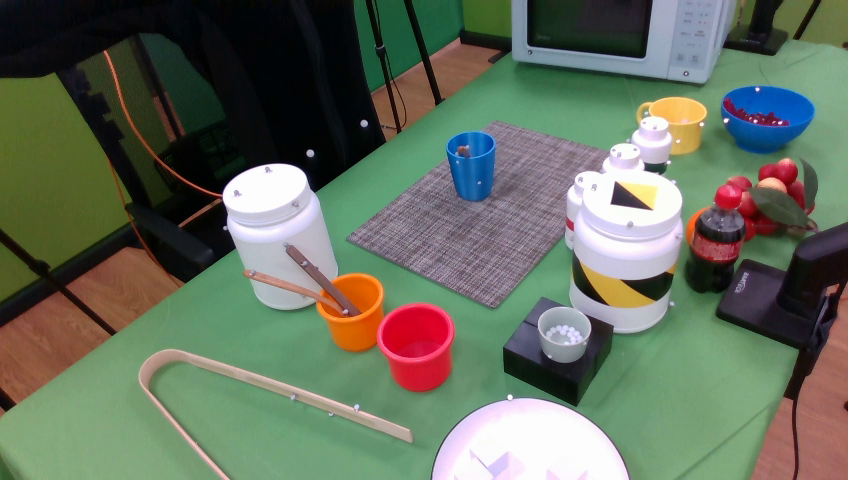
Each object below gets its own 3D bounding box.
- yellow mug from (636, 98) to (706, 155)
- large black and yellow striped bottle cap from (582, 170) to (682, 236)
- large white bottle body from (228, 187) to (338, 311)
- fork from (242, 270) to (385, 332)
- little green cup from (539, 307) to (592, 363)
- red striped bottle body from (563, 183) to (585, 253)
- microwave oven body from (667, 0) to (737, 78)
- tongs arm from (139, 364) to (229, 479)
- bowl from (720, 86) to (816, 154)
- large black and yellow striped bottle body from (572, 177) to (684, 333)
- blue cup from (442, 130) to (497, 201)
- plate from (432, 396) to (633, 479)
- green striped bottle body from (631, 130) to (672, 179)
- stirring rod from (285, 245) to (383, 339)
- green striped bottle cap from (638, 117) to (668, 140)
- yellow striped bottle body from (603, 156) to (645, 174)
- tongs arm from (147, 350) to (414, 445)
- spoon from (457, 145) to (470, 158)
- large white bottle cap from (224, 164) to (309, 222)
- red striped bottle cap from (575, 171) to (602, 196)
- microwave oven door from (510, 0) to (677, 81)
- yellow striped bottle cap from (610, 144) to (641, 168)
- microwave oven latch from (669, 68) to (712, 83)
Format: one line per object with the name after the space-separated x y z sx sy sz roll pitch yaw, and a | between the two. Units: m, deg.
0.453 -0.217 1.128 0.100 0.064 0.129 -34 46 -27 | yellow mug
0.252 -0.048 0.735 0.115 0.019 0.114 -3 40 3 | large black and yellow striped bottle cap
-0.207 -0.002 0.884 0.130 0.185 0.130 -4 40 4 | large white bottle body
-0.142 0.082 0.802 0.209 0.018 0.028 28 38 -26 | fork
0.168 0.115 0.721 0.061 0.039 0.061 -4 42 4 | little green cup
0.246 -0.041 0.910 0.063 0.120 0.062 -2 38 2 | red striped bottle body
0.462 -0.552 1.369 0.439 0.261 0.326 15 46 26 | microwave oven body
-0.241 0.255 0.707 0.384 0.028 0.028 27 59 34 | tongs arm
0.605 -0.206 1.081 0.151 0.077 0.150 -5 40 5 | bowl
0.262 0.017 0.788 0.131 0.185 0.130 -5 40 4 | large black and yellow striped bottle body
0.084 -0.123 1.041 0.092 0.100 0.092 -4 43 4 | blue cup
0.112 0.261 0.634 0.209 0.038 0.208 -5 40 4 | plate
0.375 -0.140 1.007 0.063 0.120 0.063 -5 40 4 | green striped bottle body
-0.121 0.071 0.819 0.176 0.006 0.014 44 52 -6 | stirring rod
0.369 -0.180 0.974 0.044 0.020 0.044 -4 41 4 | green striped bottle cap
0.313 -0.089 0.956 0.063 0.121 0.062 -4 40 4 | yellow striped bottle body
-0.193 0.200 0.757 0.382 0.026 0.051 14 49 24 | tongs arm
0.068 -0.135 0.972 0.041 0.021 0.194 4 -2 10 | spoon
-0.216 -0.066 0.829 0.115 0.018 0.114 -4 40 4 | large white bottle cap
0.242 -0.081 0.876 0.044 0.018 0.044 -5 44 5 | red striped bottle cap
0.354 -0.478 1.290 0.353 0.245 0.039 15 45 25 | microwave oven door
0.307 -0.128 0.923 0.044 0.019 0.044 -6 40 5 | yellow striped bottle cap
0.556 -0.348 1.263 0.078 0.029 0.030 15 46 26 | microwave oven latch
